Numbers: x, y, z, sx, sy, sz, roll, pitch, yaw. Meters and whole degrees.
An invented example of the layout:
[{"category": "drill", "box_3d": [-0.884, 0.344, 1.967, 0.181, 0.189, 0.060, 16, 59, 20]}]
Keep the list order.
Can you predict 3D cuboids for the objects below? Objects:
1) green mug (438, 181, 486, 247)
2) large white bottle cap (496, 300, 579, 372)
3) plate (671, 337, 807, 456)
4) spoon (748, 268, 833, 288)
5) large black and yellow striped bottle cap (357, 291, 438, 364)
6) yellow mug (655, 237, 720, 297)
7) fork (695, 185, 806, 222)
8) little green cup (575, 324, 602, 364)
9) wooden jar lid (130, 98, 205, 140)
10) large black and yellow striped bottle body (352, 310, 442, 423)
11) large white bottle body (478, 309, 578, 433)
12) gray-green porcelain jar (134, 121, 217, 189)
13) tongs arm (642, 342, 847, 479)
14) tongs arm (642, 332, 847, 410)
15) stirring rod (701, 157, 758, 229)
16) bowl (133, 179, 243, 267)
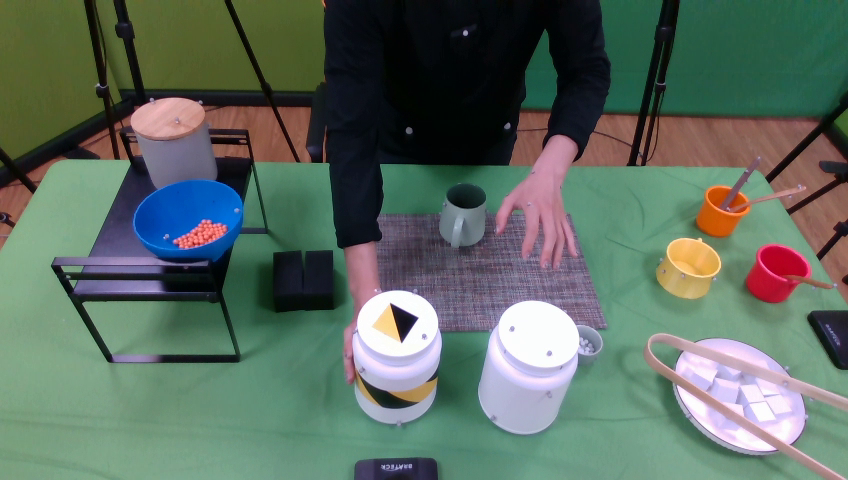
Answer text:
[{"category": "green mug", "box_3d": [0.072, -0.040, 1.178, 0.092, 0.105, 0.124, 12, 47, 7]}, {"category": "large white bottle cap", "box_3d": [0.160, 0.133, 0.852, 0.115, 0.018, 0.114, 3, 46, -2]}, {"category": "plate", "box_3d": [0.504, 0.254, 0.984, 0.208, 0.039, 0.206, 2, 46, -2]}, {"category": "spoon", "box_3d": [0.660, 0.068, 1.098, 0.041, 0.193, 0.021, -4, 91, -6]}, {"category": "large black and yellow striped bottle cap", "box_3d": [-0.037, 0.121, 0.851, 0.115, 0.019, 0.114, 1, 46, -1]}, {"category": "yellow mug", "box_3d": [0.509, 0.041, 1.167, 0.099, 0.064, 0.130, 24, 48, 18]}, {"category": "fork", "box_3d": [0.658, -0.074, 1.229, 0.207, 0.019, 0.028, -23, 36, 37]}, {"category": "little green cup", "box_3d": [0.269, 0.180, 1.036, 0.061, 0.039, 0.061, 2, 45, -2]}, {"category": "wooden jar lid", "box_3d": [-0.393, -0.183, 0.934, 0.108, 0.021, 0.107, 2, 43, -2]}, {"category": "large black and yellow striped bottle body", "box_3d": [-0.042, 0.178, 0.913, 0.131, 0.185, 0.130, 2, 46, -2]}, {"category": "large white bottle body", "box_3d": [0.156, 0.192, 0.913, 0.131, 0.185, 0.130, 2, 46, -2]}, {"category": "gray-green porcelain jar", "box_3d": [-0.397, -0.141, 0.979, 0.106, 0.127, 0.105, 2, 47, -2]}, {"category": "tongs arm", "box_3d": [0.504, 0.279, 0.918, 0.386, 0.028, 0.028, 33, 59, 22]}, {"category": "tongs arm", "box_3d": [0.546, 0.227, 0.968, 0.384, 0.026, 0.050, 22, 52, 13]}, {"category": "stirring rod", "box_3d": [0.634, -0.096, 1.257, 0.014, 0.006, 0.176, 38, 97, 29]}, {"category": "bowl", "box_3d": [-0.339, -0.013, 0.895, 0.151, 0.077, 0.150, 2, 46, -2]}]
